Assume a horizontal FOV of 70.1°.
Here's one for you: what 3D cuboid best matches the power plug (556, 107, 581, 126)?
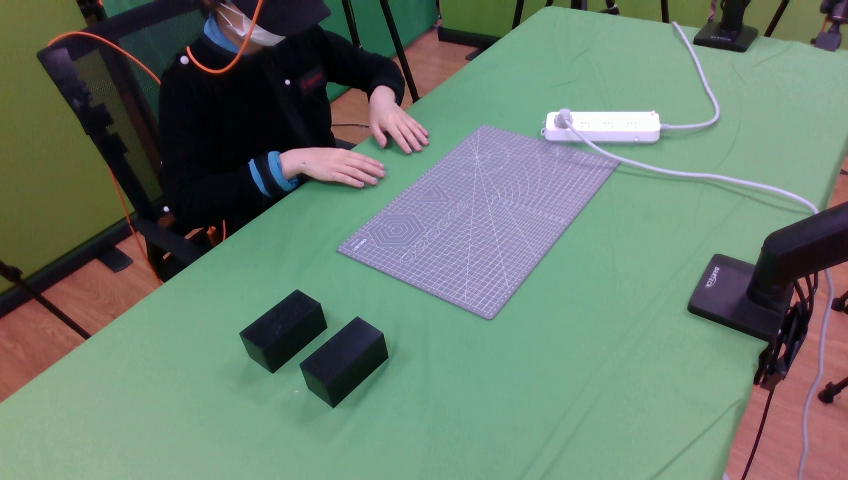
[{"bbox_3d":[0.286,-0.238,1.162,0.073,0.035,0.052,-14,30,-42],"label":"power plug"}]

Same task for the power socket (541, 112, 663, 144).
[{"bbox_3d":[0.341,-0.217,1.164,0.226,0.033,0.072,4,43,12],"label":"power socket"}]
